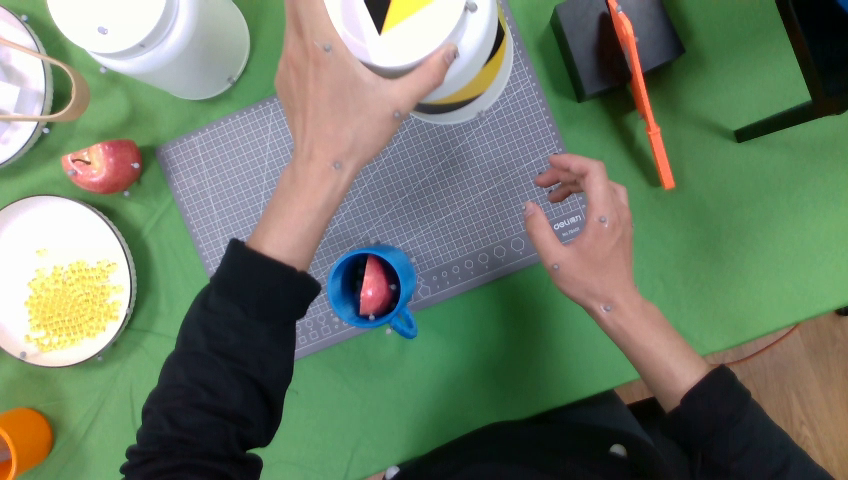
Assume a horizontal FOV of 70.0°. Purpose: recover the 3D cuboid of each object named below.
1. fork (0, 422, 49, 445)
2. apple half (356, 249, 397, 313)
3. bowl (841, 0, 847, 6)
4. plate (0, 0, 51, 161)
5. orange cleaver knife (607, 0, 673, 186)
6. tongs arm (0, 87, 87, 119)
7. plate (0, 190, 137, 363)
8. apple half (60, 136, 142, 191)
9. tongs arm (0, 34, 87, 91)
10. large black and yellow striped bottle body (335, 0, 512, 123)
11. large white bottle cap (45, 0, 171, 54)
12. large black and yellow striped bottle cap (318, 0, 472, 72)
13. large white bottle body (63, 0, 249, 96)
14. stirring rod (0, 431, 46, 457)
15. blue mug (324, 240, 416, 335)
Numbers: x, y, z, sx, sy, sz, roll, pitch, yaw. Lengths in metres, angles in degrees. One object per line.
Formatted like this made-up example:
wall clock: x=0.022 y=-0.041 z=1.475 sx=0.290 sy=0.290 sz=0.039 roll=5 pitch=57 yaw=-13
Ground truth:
fork: x=-0.555 y=0.247 z=0.699 sx=0.208 sy=0.018 sz=0.028 roll=-7 pitch=92 yaw=-38
apple half: x=-0.045 y=0.045 z=0.661 sx=0.032 sy=0.081 sz=0.081 roll=11 pitch=94 yaw=12
bowl: x=0.362 y=-0.228 z=0.454 sx=0.151 sy=0.077 sz=0.151 roll=0 pitch=94 yaw=5
plate: x=-0.542 y=-0.191 z=0.726 sx=0.207 sy=0.039 sz=0.207 roll=0 pitch=94 yaw=4
orange cleaver knife: x=0.230 y=-0.156 z=0.646 sx=0.012 sy=0.076 sz=0.213 roll=-20 pitch=118 yaw=14
tongs arm: x=-0.577 y=-0.167 z=0.698 sx=0.384 sy=0.026 sz=0.051 roll=7 pitch=91 yaw=6
plate: x=-0.444 y=0.043 z=0.733 sx=0.209 sy=0.038 sz=0.209 roll=0 pitch=94 yaw=5
apple half: x=-0.367 y=-0.084 z=0.702 sx=0.081 sy=0.074 sz=0.053 roll=-18 pitch=95 yaw=1
tongs arm: x=-0.560 y=-0.249 z=0.694 sx=0.387 sy=0.028 sz=0.028 roll=21 pitch=88 yaw=5
large black and yellow striped bottle body: x=0.000 y=-0.180 z=0.522 sx=0.130 sy=0.184 sz=0.130 roll=0 pitch=90 yaw=15
large white bottle cap: x=-0.285 y=-0.227 z=0.545 sx=0.115 sy=0.018 sz=0.115 roll=0 pitch=93 yaw=5
large black and yellow striped bottle cap: x=-0.022 y=-0.182 z=0.441 sx=0.114 sy=0.019 sz=0.115 roll=1 pitch=93 yaw=14
large white bottle body: x=-0.277 y=-0.231 z=0.630 sx=0.130 sy=0.184 sz=0.130 roll=0 pitch=92 yaw=5
stirring rod: x=-0.539 y=0.262 z=0.701 sx=0.177 sy=0.006 sz=0.014 roll=-15 pitch=80 yaw=-35
blue mug: x=-0.047 y=0.056 z=0.667 sx=0.082 sy=0.106 sz=0.116 roll=-37 pitch=90 yaw=6
